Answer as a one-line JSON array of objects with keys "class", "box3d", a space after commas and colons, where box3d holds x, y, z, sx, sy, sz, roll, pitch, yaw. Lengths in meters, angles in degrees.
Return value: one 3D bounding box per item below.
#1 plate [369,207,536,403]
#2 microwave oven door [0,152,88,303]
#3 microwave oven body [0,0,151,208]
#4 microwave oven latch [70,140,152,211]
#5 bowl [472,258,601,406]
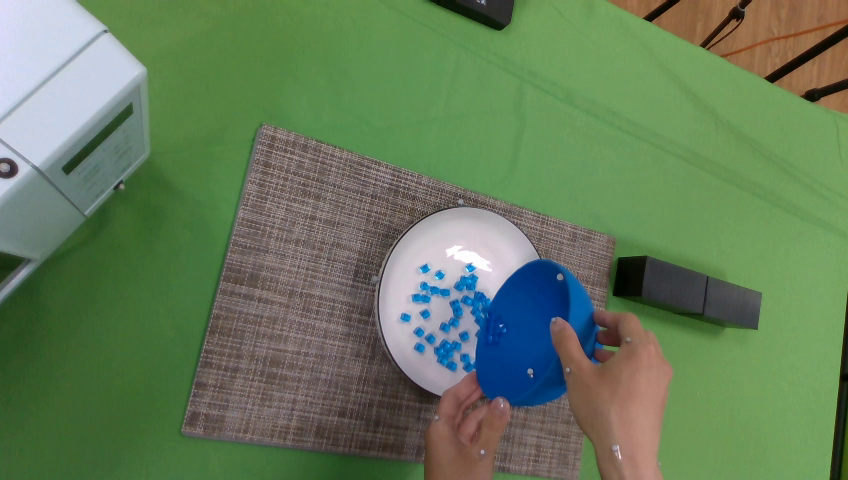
[{"class": "plate", "box3d": [0.037, 0.069, 0.656, 0.209, 0.039, 0.207, 2, 86, -24]}, {"class": "microwave oven door", "box3d": [-0.357, 0.093, 0.353, 0.039, 0.243, 0.355, 43, 71, -15]}, {"class": "microwave oven body", "box3d": [-0.438, -0.035, 0.331, 0.328, 0.259, 0.440, 43, 72, -16]}, {"class": "microwave oven latch", "box3d": [-0.267, -0.062, 0.514, 0.030, 0.029, 0.079, 45, 72, -16]}, {"class": "bowl", "box3d": [0.122, 0.101, 0.607, 0.077, 0.151, 0.151, 25, 77, -21]}]
